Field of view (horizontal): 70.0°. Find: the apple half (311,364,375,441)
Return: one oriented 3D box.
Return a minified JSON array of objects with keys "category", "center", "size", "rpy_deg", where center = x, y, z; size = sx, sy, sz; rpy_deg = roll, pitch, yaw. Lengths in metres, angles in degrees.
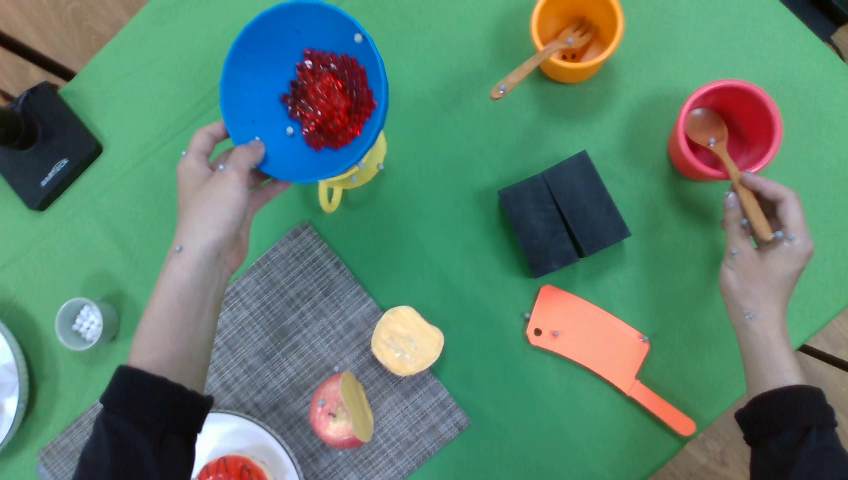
[{"category":"apple half","center":[-0.093,0.180,0.660],"size":[0.053,0.075,0.080],"rpy_deg":[-23,89,10]}]

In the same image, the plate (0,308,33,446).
[{"category":"plate","center":[-0.573,0.169,0.748],"size":[0.207,0.039,0.207],"rpy_deg":[0,88,8]}]

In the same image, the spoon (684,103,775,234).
[{"category":"spoon","center":[0.293,-0.075,0.581],"size":[0.041,0.192,0.022],"rpy_deg":[-5,131,7]}]

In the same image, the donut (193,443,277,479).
[{"category":"donut","center":[-0.212,0.278,0.680],"size":[0.099,0.048,0.099],"rpy_deg":[0,90,7]}]

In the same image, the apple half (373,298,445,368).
[{"category":"apple half","center":[-0.021,0.108,0.669],"size":[0.081,0.033,0.080],"rpy_deg":[6,59,-9]}]

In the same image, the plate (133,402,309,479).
[{"category":"plate","center":[-0.228,0.286,0.693],"size":[0.209,0.038,0.209],"rpy_deg":[0,88,8]}]

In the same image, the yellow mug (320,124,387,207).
[{"category":"yellow mug","center":[-0.098,-0.102,0.676],"size":[0.100,0.064,0.131],"rpy_deg":[7,90,8]}]

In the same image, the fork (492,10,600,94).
[{"category":"fork","center":[0.125,-0.191,0.606],"size":[0.028,0.019,0.207],"rpy_deg":[43,50,7]}]

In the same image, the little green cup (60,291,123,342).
[{"category":"little green cup","center":[-0.396,0.091,0.726],"size":[0.061,0.039,0.061],"rpy_deg":[0,88,8]}]

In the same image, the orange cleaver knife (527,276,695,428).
[{"category":"orange cleaver knife","center":[0.205,0.119,0.651],"size":[0.210,0.012,0.077],"rpy_deg":[34,87,9]}]

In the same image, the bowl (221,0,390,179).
[{"category":"bowl","center":[-0.093,-0.128,0.543],"size":[0.151,0.077,0.151],"rpy_deg":[1,94,13]}]
